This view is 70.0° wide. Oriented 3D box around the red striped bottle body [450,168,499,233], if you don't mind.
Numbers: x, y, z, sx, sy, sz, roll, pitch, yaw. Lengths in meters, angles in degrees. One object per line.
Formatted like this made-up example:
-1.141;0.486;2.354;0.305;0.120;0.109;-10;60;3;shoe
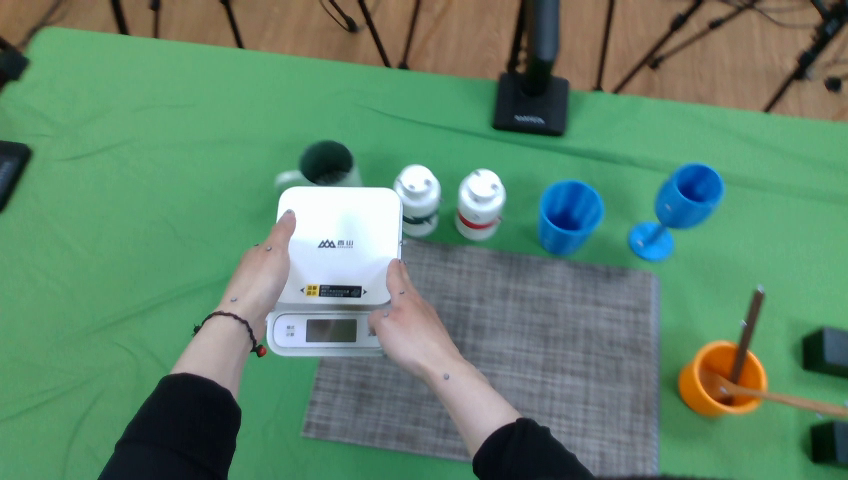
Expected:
0.071;-0.062;0.861;0.063;0.120;0.062;1;65;-1;red striped bottle body

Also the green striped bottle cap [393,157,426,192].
-0.019;-0.089;0.813;0.044;0.020;0.044;1;65;-1;green striped bottle cap

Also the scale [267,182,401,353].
-0.103;0.028;0.699;0.148;0.032;0.199;0;72;3;scale

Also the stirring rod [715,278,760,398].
0.396;0.128;0.767;0.014;0.177;0.006;11;25;18;stirring rod

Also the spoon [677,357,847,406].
0.407;0.178;0.745;0.022;0.192;0.041;34;71;-33;spoon

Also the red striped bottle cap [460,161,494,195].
0.072;-0.083;0.812;0.044;0.018;0.044;2;64;-3;red striped bottle cap

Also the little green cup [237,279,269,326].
-0.222;0.088;0.833;0.061;0.039;0.061;0;67;-1;little green cup

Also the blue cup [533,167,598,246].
0.193;-0.038;0.862;0.092;0.101;0.092;0;66;1;blue cup

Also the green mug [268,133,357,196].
-0.161;-0.090;0.877;0.125;0.105;0.092;-13;67;-6;green mug

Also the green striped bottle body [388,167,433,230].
-0.019;-0.066;0.861;0.063;0.120;0.062;0;65;0;green striped bottle body

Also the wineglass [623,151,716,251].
0.331;-0.048;0.829;0.074;0.173;0.073;0;66;0;wineglass
